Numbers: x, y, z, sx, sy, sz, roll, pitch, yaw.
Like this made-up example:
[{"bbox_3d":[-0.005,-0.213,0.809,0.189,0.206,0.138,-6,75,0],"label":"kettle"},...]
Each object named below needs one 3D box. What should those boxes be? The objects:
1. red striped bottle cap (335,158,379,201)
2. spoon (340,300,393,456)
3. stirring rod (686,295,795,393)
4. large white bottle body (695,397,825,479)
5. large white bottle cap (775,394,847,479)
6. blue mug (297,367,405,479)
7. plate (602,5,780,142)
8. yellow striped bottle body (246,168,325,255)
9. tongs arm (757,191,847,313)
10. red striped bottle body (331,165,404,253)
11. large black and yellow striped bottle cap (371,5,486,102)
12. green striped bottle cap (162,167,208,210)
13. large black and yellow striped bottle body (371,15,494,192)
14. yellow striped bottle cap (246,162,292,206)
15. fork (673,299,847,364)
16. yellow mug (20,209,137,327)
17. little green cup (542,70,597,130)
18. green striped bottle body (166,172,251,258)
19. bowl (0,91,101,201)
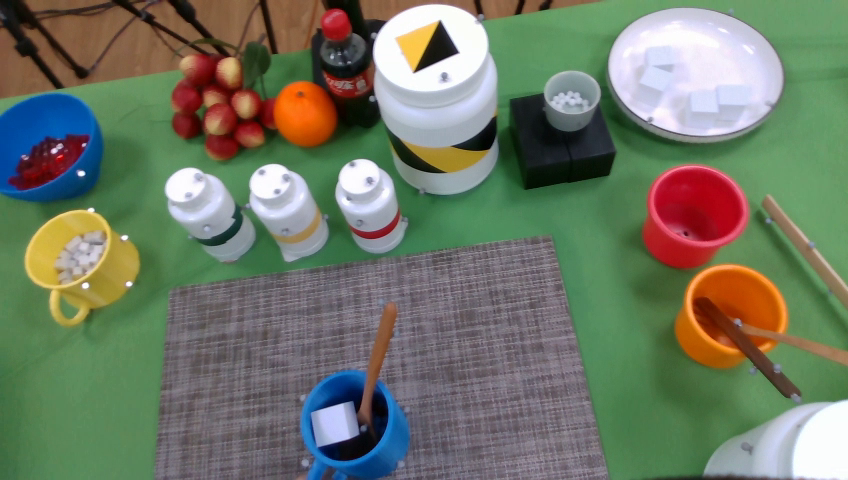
[{"bbox_3d":[-0.069,-0.063,0.622,0.044,0.018,0.044,-1,62,2],"label":"red striped bottle cap"},{"bbox_3d":[-0.049,0.132,0.538,0.041,0.195,0.021,29,37,24],"label":"spoon"},{"bbox_3d":[0.286,0.090,0.560,0.014,0.006,0.175,-5,20,0],"label":"stirring rod"},{"bbox_3d":[0.305,0.198,0.475,0.130,0.186,0.129,-2,63,5],"label":"large white bottle body"},{"bbox_3d":[0.296,0.159,0.401,0.115,0.018,0.114,-2,63,5],"label":"large white bottle cap"},{"bbox_3d":[-0.073,0.186,0.563,0.082,0.107,0.116,28,70,19],"label":"blue mug"},{"bbox_3d":[0.326,-0.205,0.756,0.209,0.038,0.207,-2,64,5],"label":"plate"},{"bbox_3d":[-0.156,-0.036,0.676,0.063,0.121,0.062,-3,63,6],"label":"yellow striped bottle body"},{"bbox_3d":[0.461,0.095,0.583,0.051,0.027,0.381,-22,61,-3],"label":"tongs arm"},{"bbox_3d":[-0.063,-0.039,0.668,0.063,0.121,0.062,-4,62,8],"label":"red striped bottle body"},{"bbox_3d":[0.004,-0.188,0.605,0.115,0.019,0.114,-3,62,6],"label":"large black and yellow striped bottle cap"},{"bbox_3d":[-0.252,-0.055,0.637,0.044,0.020,0.044,-1,64,3],"label":"green striped bottle cap"},{"bbox_3d":[0.013,-0.152,0.680,0.130,0.185,0.129,-2,63,5],"label":"large black and yellow striped bottle body"},{"bbox_3d":[-0.161,-0.059,0.630,0.044,0.019,0.044,-2,65,4],"label":"yellow striped bottle cap"},{"bbox_3d":[0.316,0.086,0.550,0.028,0.019,0.206,-45,23,-14],"label":"fork"},{"bbox_3d":[-0.400,0.036,0.697,0.100,0.064,0.130,1,64,6],"label":"yellow mug"},{"bbox_3d":[0.164,-0.158,0.692,0.061,0.039,0.061,-1,61,3],"label":"little green cup"},{"bbox_3d":[-0.245,-0.031,0.684,0.063,0.120,0.062,-2,63,4],"label":"green striped bottle body"},{"bbox_3d":[-0.473,-0.105,0.767,0.151,0.077,0.150,-2,64,4],"label":"bowl"}]
